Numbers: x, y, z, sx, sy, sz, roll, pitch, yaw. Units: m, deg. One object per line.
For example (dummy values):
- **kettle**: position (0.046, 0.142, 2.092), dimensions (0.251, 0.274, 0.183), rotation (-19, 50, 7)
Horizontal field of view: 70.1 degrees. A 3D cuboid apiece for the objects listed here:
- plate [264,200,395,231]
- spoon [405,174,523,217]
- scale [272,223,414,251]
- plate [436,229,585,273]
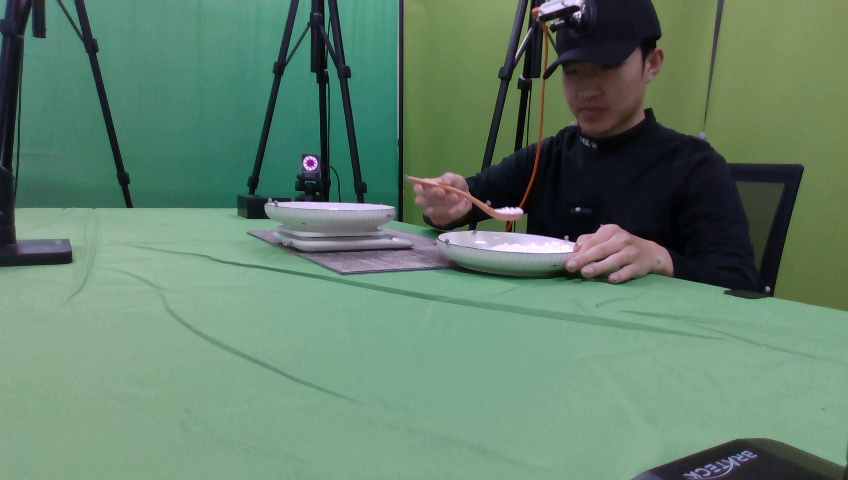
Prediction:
- **plate**: position (-0.150, -0.040, 0.971), dimensions (0.208, 0.039, 0.207), rotation (2, 7, 0)
- **spoon**: position (0.058, -0.070, 0.920), dimensions (0.193, 0.021, 0.042), rotation (24, 11, 16)
- **scale**: position (-0.131, -0.008, 0.984), dimensions (0.202, 0.031, 0.148), rotation (-2, 8, -32)
- **plate**: position (0.121, 0.015, 0.855), dimensions (0.209, 0.038, 0.209), rotation (3, 8, 0)
